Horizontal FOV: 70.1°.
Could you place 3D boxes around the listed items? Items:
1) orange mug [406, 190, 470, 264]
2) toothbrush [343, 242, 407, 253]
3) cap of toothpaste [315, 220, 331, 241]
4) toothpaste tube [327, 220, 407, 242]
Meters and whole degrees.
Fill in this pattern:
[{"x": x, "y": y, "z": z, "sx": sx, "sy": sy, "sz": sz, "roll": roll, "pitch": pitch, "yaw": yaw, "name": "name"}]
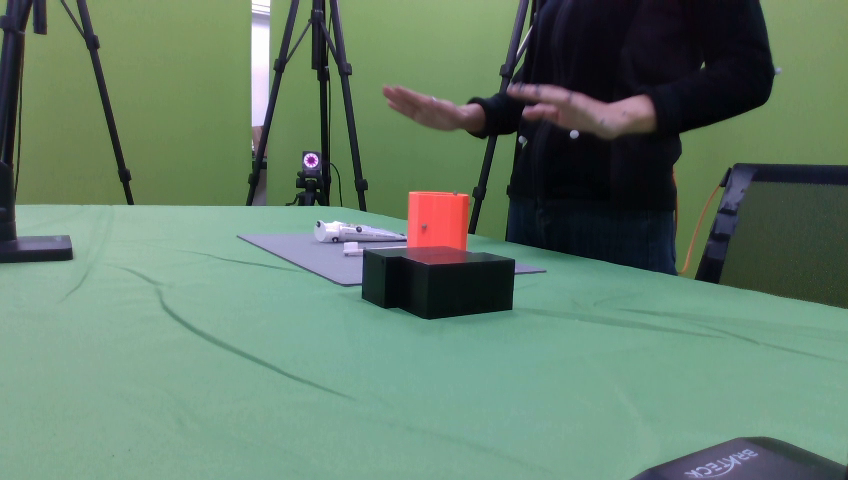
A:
[{"x": 0.027, "y": -0.023, "z": 0.866, "sx": 0.083, "sy": 0.101, "sz": 0.126, "roll": 6, "pitch": 12, "yaw": 24, "name": "orange mug"}, {"x": -0.039, "y": 0.010, "z": 0.905, "sx": 0.183, "sy": 0.016, "sz": 0.014, "roll": -1, "pitch": -7, "yaw": -35, "name": "toothbrush"}, {"x": -0.164, "y": -0.016, "z": 0.982, "sx": 0.011, "sy": 0.037, "sz": 0.037, "roll": -8, "pitch": 12, "yaw": -43, "name": "cap of toothpaste"}, {"x": -0.095, "y": -0.012, "z": 1.026, "sx": 0.166, "sy": 0.034, "sz": 0.055, "roll": 2, "pitch": 13, "yaw": -33, "name": "toothpaste tube"}]
